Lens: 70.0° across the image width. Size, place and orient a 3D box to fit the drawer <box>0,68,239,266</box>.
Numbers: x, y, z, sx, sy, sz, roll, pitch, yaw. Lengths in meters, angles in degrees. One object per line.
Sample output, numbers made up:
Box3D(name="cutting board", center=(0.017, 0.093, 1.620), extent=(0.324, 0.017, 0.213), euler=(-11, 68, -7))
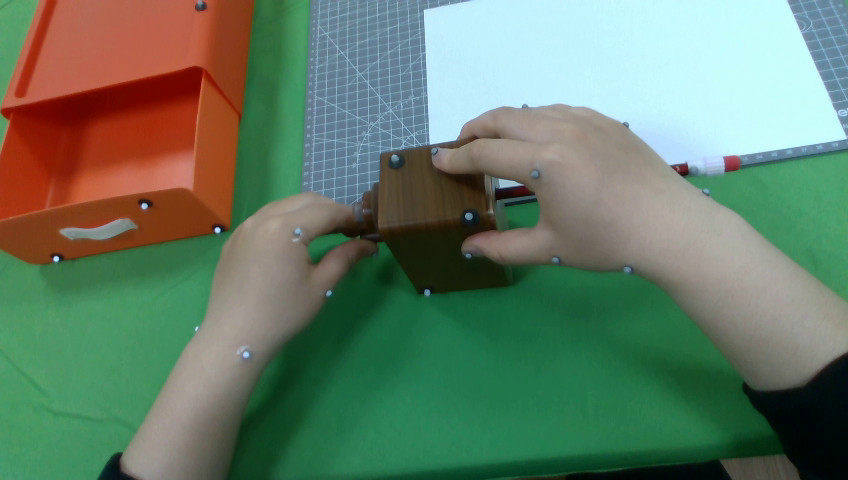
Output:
Box3D(name="drawer", center=(-0.268, -0.094, 0.536), extent=(0.194, 0.074, 0.210), euler=(-10, 61, 10))

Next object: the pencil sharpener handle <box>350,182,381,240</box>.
Box3D(name="pencil sharpener handle", center=(-0.039, -0.013, 0.406), extent=(0.030, 0.068, 0.036), euler=(-8, 74, 11))

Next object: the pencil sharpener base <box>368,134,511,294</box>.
Box3D(name="pencil sharpener base", center=(0.014, -0.012, 0.406), extent=(0.076, 0.108, 0.061), euler=(-8, 62, 11))

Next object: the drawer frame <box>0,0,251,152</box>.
Box3D(name="drawer frame", center=(-0.277, -0.199, 0.587), extent=(0.201, 0.083, 0.211), euler=(-10, 61, 10))

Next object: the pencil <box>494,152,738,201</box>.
Box3D(name="pencil", center=(0.086, -0.034, 0.367), extent=(0.194, 0.012, 0.012), euler=(-8, 62, 11))
